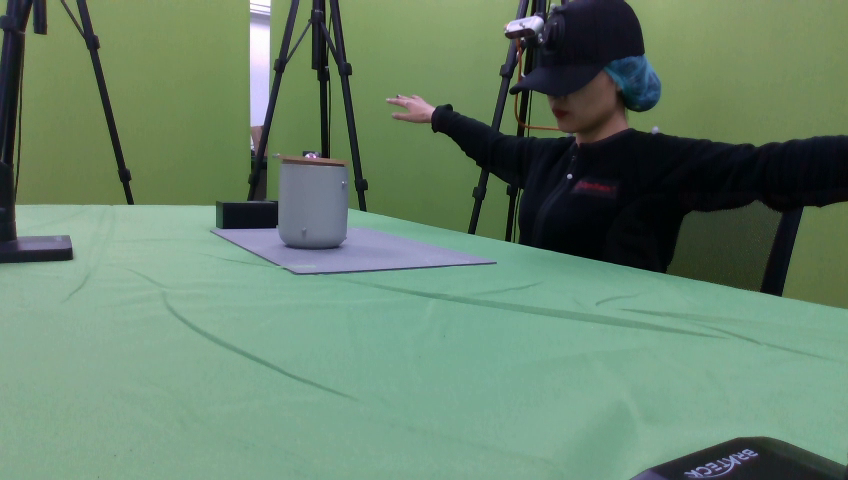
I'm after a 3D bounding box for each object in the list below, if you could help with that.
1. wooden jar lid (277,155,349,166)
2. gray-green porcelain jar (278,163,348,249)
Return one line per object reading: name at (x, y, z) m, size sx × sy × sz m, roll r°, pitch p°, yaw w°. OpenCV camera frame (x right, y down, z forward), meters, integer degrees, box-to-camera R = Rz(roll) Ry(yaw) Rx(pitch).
wooden jar lid at (-0.170, -0.117, 0.925) m, size 0.108 × 0.020 × 0.108 m, roll 4°, pitch 7°, yaw 0°
gray-green porcelain jar at (-0.171, -0.053, 0.934) m, size 0.106 × 0.126 × 0.106 m, roll 2°, pitch 7°, yaw 0°
